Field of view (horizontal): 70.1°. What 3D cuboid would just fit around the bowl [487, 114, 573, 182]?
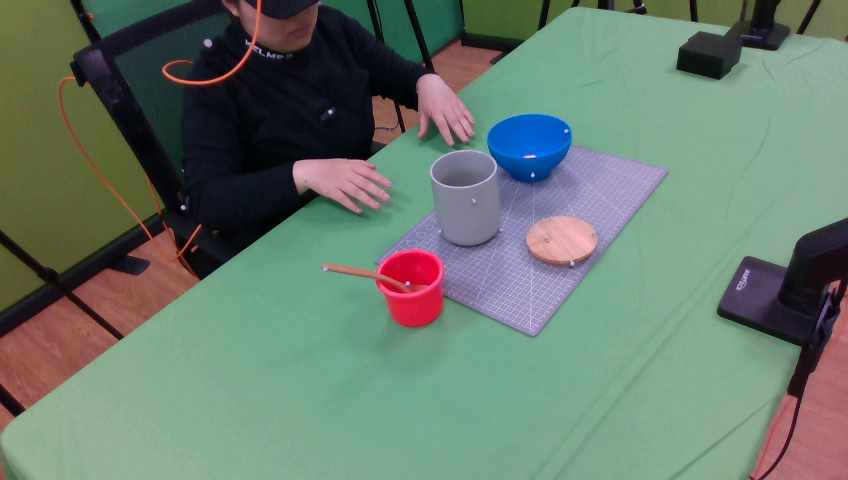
[{"bbox_3d":[0.190,-0.156,1.085,0.151,0.077,0.150,-5,40,5],"label":"bowl"}]

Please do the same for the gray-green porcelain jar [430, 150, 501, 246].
[{"bbox_3d":[0.068,-0.062,0.958,0.106,0.127,0.105,-5,40,5],"label":"gray-green porcelain jar"}]

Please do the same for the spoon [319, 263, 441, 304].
[{"bbox_3d":[-0.056,0.056,0.833,0.195,0.021,0.041,22,27,-35],"label":"spoon"}]

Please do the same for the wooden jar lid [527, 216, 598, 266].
[{"bbox_3d":[0.214,0.003,0.937,0.108,0.021,0.108,-4,40,4],"label":"wooden jar lid"}]
